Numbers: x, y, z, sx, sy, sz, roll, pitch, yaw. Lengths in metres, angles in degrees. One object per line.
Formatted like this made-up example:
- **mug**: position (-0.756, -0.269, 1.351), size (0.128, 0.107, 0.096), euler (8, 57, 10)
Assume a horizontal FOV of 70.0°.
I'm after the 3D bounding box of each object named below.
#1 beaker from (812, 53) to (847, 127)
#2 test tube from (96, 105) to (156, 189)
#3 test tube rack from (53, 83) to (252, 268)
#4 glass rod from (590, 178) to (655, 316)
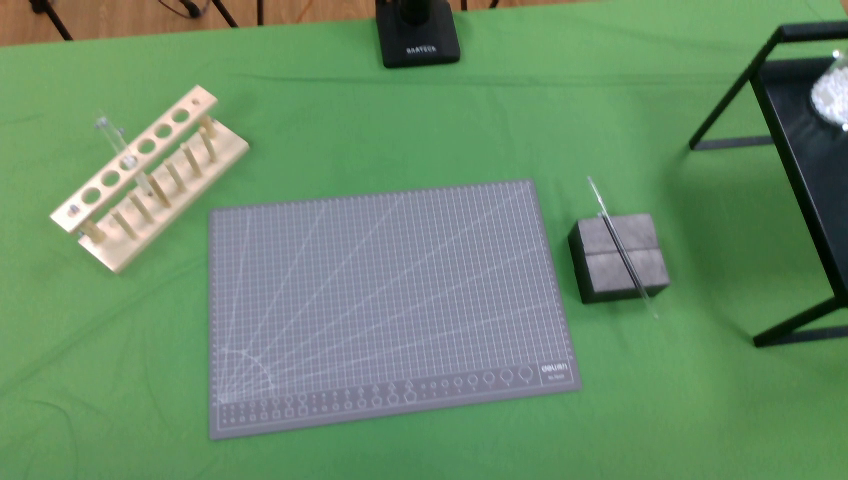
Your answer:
- **beaker**: position (0.497, -0.183, 0.681), size (0.074, 0.101, 0.083), euler (-28, 71, -15)
- **test tube**: position (-0.359, -0.108, 0.739), size (0.017, 0.151, 0.017), euler (1, 61, -1)
- **test tube rack**: position (-0.340, -0.085, 0.784), size (0.066, 0.086, 0.242), euler (36, 69, 12)
- **glass rod**: position (0.253, 0.006, 0.778), size (0.008, 0.008, 0.198), euler (-15, 69, -10)
